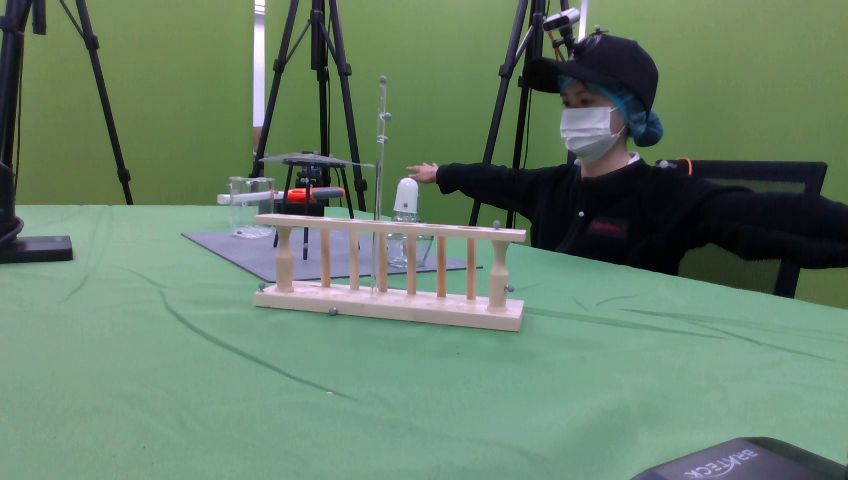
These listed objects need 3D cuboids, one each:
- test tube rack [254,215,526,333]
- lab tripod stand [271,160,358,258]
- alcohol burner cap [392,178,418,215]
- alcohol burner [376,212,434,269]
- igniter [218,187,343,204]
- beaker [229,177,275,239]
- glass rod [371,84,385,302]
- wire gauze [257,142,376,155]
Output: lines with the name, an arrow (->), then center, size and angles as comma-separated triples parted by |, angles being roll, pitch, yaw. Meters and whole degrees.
test tube rack -> -0.030, 0.025, 0.558 | 0.242, 0.085, 0.067 | 4, 7, 12
lab tripod stand -> -0.159, -0.048, 0.876 | 0.148, 0.131, 0.148 | 3, 5, 0
alcohol burner cap -> -0.023, -0.057, 0.795 | 0.034, 0.048, 0.034 | 6, 6, 0
alcohol burner -> -0.025, -0.022, 0.800 | 0.078, 0.119, 0.078 | 1, 6, 0
igniter -> -0.287, -0.093, 1.257 | 0.278, 0.025, 0.057 | -8, 12, -41
beaker -> -0.292, -0.056, 1.023 | 0.074, 0.100, 0.083 | -1, 8, -26
glass rod -> -0.041, -0.040, 0.548 | 0.008, 0.199, 0.008 | 2, 2, 0
wire gauze -> -0.155, -0.130, 0.871 | 0.124, 0.011, 0.122 | -1, 7, 36
